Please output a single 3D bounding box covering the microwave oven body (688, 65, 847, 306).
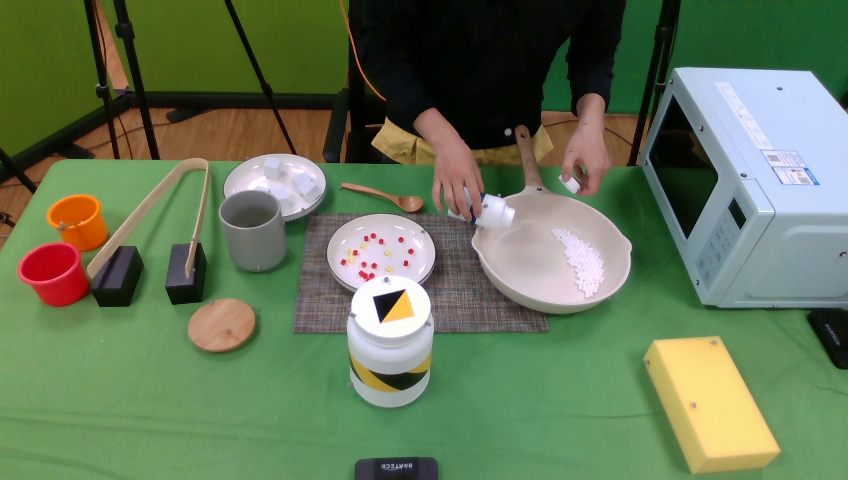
[{"bbox_3d":[0.669,-0.111,1.176,0.326,0.261,0.439,0,46,-3],"label":"microwave oven body"}]

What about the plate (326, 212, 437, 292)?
[{"bbox_3d":[-0.080,0.030,1.143,0.209,0.038,0.208,3,46,-2],"label":"plate"}]

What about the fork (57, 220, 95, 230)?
[{"bbox_3d":[-0.624,-0.027,1.087,0.028,0.207,0.018,-3,92,-17],"label":"fork"}]

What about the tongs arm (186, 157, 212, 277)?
[{"bbox_3d":[-0.445,-0.058,1.168,0.051,0.026,0.382,-5,37,-6],"label":"tongs arm"}]

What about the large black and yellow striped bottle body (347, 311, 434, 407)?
[{"bbox_3d":[-0.052,0.157,0.929,0.131,0.185,0.130,2,47,-2],"label":"large black and yellow striped bottle body"}]

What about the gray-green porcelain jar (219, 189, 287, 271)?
[{"bbox_3d":[-0.309,-0.014,1.113,0.106,0.127,0.105,2,46,-2],"label":"gray-green porcelain jar"}]

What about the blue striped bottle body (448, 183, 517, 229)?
[{"bbox_3d":[0.111,-0.060,1.129,0.121,0.063,0.063,18,48,3],"label":"blue striped bottle body"}]

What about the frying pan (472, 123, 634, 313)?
[{"bbox_3d":[0.236,-0.061,1.208,0.307,0.103,0.484,2,55,-6],"label":"frying pan"}]

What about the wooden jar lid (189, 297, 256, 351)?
[{"bbox_3d":[-0.342,0.145,1.033,0.108,0.021,0.107,2,45,-2],"label":"wooden jar lid"}]

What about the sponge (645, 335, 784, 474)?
[{"bbox_3d":[0.449,0.253,0.956,0.118,0.061,0.205,-4,46,-7],"label":"sponge"}]

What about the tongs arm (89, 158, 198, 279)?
[{"bbox_3d":[-0.529,-0.057,1.164,0.028,0.028,0.385,1,36,8],"label":"tongs arm"}]

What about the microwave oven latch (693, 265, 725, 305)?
[{"bbox_3d":[0.523,0.082,1.116,0.030,0.029,0.078,2,46,-1],"label":"microwave oven latch"}]

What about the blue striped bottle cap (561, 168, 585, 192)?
[{"bbox_3d":[0.280,-0.112,1.134,0.045,0.020,0.044,28,34,-21],"label":"blue striped bottle cap"}]

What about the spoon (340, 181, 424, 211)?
[{"bbox_3d":[-0.090,-0.100,1.282,0.193,0.022,0.041,18,68,12],"label":"spoon"}]

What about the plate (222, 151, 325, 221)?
[{"bbox_3d":[-0.310,-0.106,1.263,0.208,0.039,0.206,2,47,-2],"label":"plate"}]

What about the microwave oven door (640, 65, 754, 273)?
[{"bbox_3d":[0.524,-0.148,1.193,0.039,0.245,0.353,0,47,-3],"label":"microwave oven door"}]

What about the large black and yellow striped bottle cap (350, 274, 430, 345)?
[{"bbox_3d":[-0.048,0.097,0.867,0.115,0.019,0.114,3,48,-3],"label":"large black and yellow striped bottle cap"}]
